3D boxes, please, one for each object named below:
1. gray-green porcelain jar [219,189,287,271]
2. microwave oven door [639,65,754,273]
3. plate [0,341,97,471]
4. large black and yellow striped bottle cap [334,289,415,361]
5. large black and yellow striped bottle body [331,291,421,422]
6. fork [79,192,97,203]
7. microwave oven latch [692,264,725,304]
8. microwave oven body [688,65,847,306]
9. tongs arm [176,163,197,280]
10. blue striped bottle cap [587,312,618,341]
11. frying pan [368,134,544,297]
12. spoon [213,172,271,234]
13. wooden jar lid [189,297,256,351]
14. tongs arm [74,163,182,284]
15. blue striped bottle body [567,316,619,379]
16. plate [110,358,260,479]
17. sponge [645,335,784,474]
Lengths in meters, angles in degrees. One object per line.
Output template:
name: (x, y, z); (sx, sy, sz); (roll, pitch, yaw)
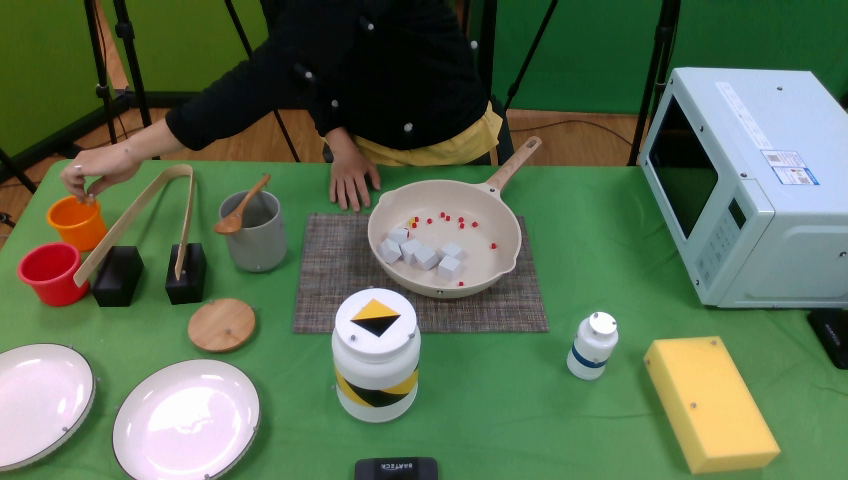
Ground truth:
gray-green porcelain jar: (-0.310, -0.014, 1.113); (0.106, 0.127, 0.105); (2, 46, -2)
microwave oven door: (0.522, -0.147, 1.193); (0.039, 0.245, 0.353); (0, 47, -3)
plate: (-0.599, 0.247, 0.904); (0.209, 0.038, 0.208); (2, 47, -2)
large black and yellow striped bottle cap: (-0.069, 0.117, 0.850); (0.115, 0.019, 0.114); (2, 45, -2)
large black and yellow striped bottle body: (-0.072, 0.175, 0.912); (0.131, 0.185, 0.130); (2, 47, -2)
fork: (-0.577, -0.073, 1.045); (0.028, 0.019, 0.206); (-26, 16, -27)
microwave oven latch: (0.522, 0.081, 1.116); (0.030, 0.029, 0.078); (1, 46, -2)
microwave oven body: (0.669, -0.111, 1.176); (0.326, 0.261, 0.439); (0, 46, -3)
tongs arm: (-0.462, -0.049, 1.149); (0.051, 0.026, 0.382); (-7, 35, -8)
blue striped bottle cap: (0.279, 0.134, 0.947); (0.044, 0.021, 0.044); (2, 45, -2)
frying pan: (0.104, -0.069, 1.205); (0.305, 0.103, 0.487); (32, 61, 23)
spoon: (-0.312, -0.069, 1.068); (0.041, 0.022, 0.193); (10, 43, 10)
wooden jar lid: (-0.342, 0.145, 1.033); (0.108, 0.021, 0.107); (2, 45, -2)
tongs arm: (-0.548, -0.045, 1.141); (0.028, 0.028, 0.385); (-1, 34, 6)
blue striped bottle body: (0.276, 0.169, 0.984); (0.063, 0.121, 0.062); (2, 46, -2)
plate: (-0.349, 0.273, 0.899); (0.208, 0.039, 0.206); (2, 46, -2)
sponge: (0.449, 0.253, 0.956); (0.118, 0.061, 0.205); (-4, 46, -7)
